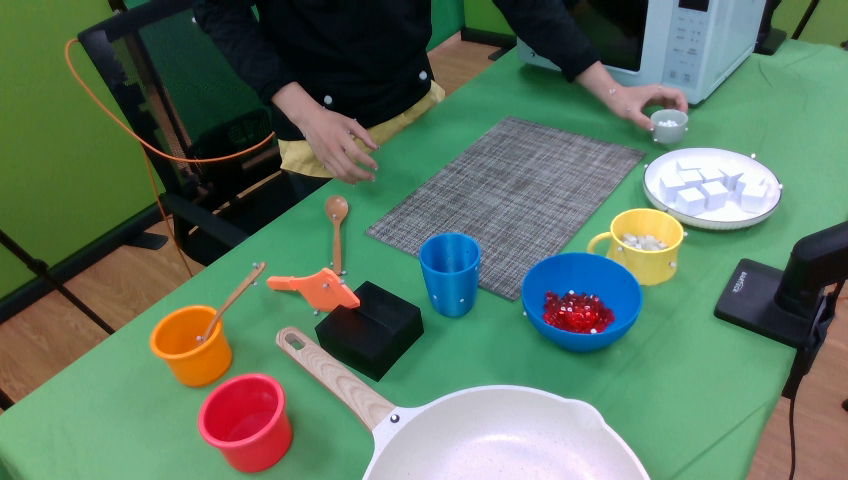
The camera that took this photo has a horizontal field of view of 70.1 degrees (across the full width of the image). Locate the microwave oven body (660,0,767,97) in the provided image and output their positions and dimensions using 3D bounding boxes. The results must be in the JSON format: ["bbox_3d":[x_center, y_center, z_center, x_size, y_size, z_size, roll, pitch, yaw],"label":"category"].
[{"bbox_3d":[0.473,-0.516,1.313,0.438,0.261,0.327,26,51,34],"label":"microwave oven body"}]

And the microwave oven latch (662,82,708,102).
[{"bbox_3d":[0.517,-0.298,1.202,0.078,0.029,0.030,27,52,34],"label":"microwave oven latch"}]

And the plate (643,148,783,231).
[{"bbox_3d":[0.464,-0.080,0.986,0.207,0.039,0.206,-4,41,4],"label":"plate"}]

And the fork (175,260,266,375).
[{"bbox_3d":[-0.268,0.102,0.792,0.207,0.019,0.028,-51,41,16],"label":"fork"}]

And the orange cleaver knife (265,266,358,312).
[{"bbox_3d":[-0.164,0.073,0.864,0.210,0.077,0.012,-6,31,50],"label":"orange cleaver knife"}]

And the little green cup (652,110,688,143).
[{"bbox_3d":[0.441,-0.203,1.088,0.061,0.039,0.061,-8,40,7],"label":"little green cup"}]

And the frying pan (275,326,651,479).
[{"bbox_3d":[0.004,0.229,0.641,0.484,0.103,0.308,34,54,28],"label":"frying pan"}]

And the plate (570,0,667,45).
[{"bbox_3d":[0.436,-0.490,1.368,0.209,0.038,0.208,-5,40,5],"label":"plate"}]

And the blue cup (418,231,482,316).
[{"bbox_3d":[0.040,0.053,0.843,0.092,0.100,0.092,-4,43,4],"label":"blue cup"}]

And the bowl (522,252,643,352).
[{"bbox_3d":[0.204,0.093,0.792,0.151,0.077,0.150,-4,40,4],"label":"bowl"}]

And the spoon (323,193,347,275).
[{"bbox_3d":[-0.148,-0.014,1.008,0.042,0.022,0.192,1,40,-9],"label":"spoon"}]

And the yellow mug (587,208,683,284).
[{"bbox_3d":[0.305,0.009,0.884,0.131,0.064,0.099,-4,40,5],"label":"yellow mug"}]

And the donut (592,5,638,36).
[{"bbox_3d":[0.428,-0.492,1.352,0.099,0.048,0.098,-6,42,6],"label":"donut"}]

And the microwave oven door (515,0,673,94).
[{"bbox_3d":[0.344,-0.458,1.256,0.353,0.245,0.039,26,51,33],"label":"microwave oven door"}]
